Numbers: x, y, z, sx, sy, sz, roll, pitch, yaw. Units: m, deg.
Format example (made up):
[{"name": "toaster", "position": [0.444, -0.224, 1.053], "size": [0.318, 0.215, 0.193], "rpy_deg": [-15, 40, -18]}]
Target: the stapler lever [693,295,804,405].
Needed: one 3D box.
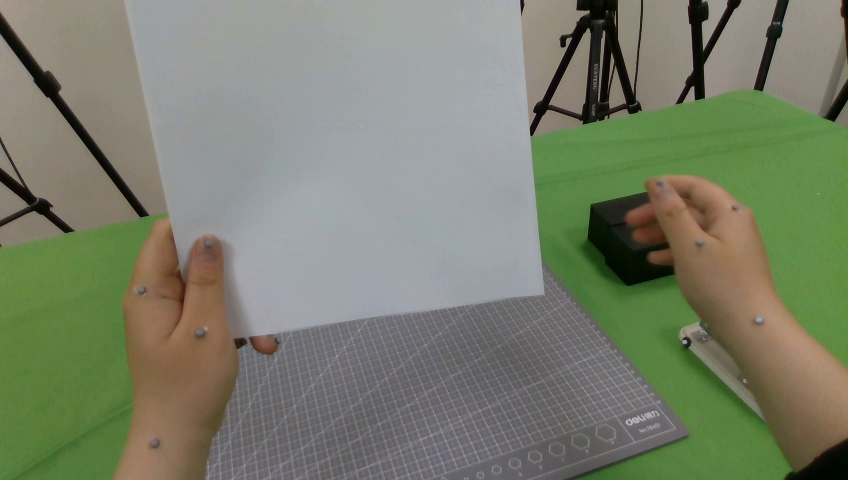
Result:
[{"name": "stapler lever", "position": [0.295, 0.096, 0.556], "size": [0.027, 0.040, 0.116], "rpy_deg": [-17, 37, -13]}]

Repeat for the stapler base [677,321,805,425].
[{"name": "stapler base", "position": [0.295, 0.115, 0.571], "size": [0.041, 0.024, 0.129], "rpy_deg": [-17, 38, -13]}]
